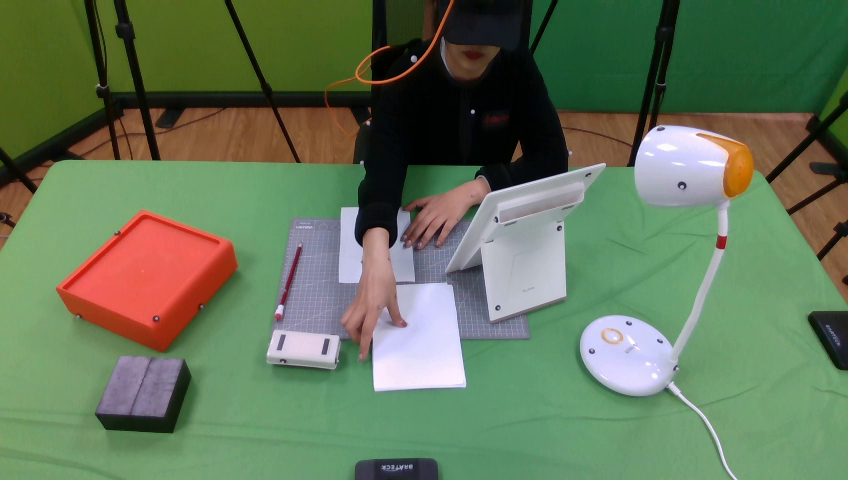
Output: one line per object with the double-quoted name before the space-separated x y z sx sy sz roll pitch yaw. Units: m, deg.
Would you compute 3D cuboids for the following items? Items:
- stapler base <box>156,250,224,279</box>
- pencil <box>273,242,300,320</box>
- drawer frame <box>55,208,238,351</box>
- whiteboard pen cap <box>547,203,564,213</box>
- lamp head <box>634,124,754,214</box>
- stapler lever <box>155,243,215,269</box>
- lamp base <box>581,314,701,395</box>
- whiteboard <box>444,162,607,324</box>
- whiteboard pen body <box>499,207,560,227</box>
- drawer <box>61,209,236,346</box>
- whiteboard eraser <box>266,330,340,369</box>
"stapler base" -0.431 0.040 1.110 0.130 0.024 0.041 11 38 17
"pencil" -0.249 0.071 1.115 0.012 0.012 0.193 5 43 1
"drawer frame" -0.474 0.062 1.059 0.201 0.083 0.213 18 48 12
"whiteboard pen cap" 0.277 -0.066 1.275 0.033 0.018 0.018 -18 50 -15
"lamp head" 0.351 -0.089 0.776 0.112 0.113 0.122 -30 30 -28
"stapler lever" -0.433 0.023 1.097 0.118 0.040 0.026 14 39 14
"lamp base" 0.361 0.145 0.973 0.178 0.181 0.160 34 53 23
"whiteboard" 0.186 0.025 1.029 0.217 0.306 0.143 -15 68 -18
"whiteboard pen body" 0.222 -0.051 1.260 0.141 0.017 0.017 -15 49 -16
"drawer" -0.474 0.061 1.062 0.194 0.073 0.211 19 48 13
"whiteboard eraser" -0.198 0.181 0.994 0.113 0.042 0.055 5 45 1
